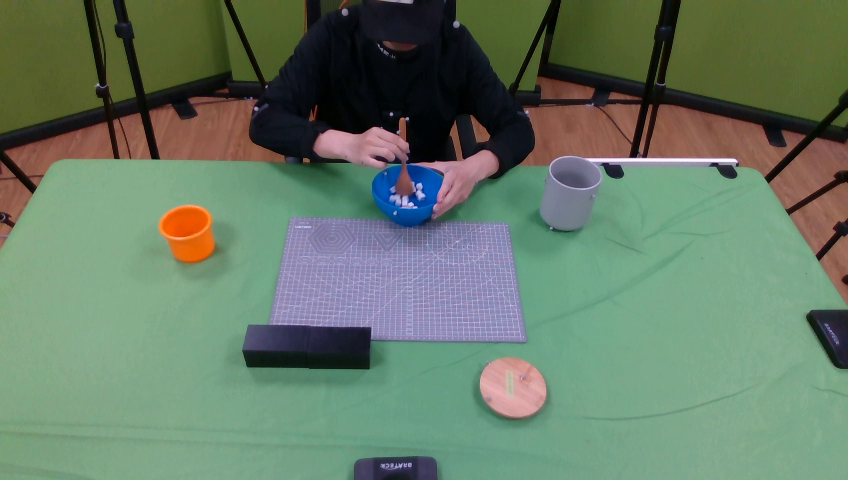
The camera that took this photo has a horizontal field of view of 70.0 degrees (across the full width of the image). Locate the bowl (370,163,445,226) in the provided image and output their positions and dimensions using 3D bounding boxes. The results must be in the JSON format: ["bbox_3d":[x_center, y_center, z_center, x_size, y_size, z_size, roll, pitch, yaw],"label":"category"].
[{"bbox_3d":[-0.034,-0.081,1.231,0.151,0.077,0.150,2,43,-2],"label":"bowl"}]

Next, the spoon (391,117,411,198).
[{"bbox_3d":[-0.045,-0.157,1.191,0.041,0.194,0.021,5,39,4],"label":"spoon"}]

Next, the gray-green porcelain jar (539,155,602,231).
[{"bbox_3d":[0.294,-0.091,1.235,0.106,0.127,0.105,2,46,-2],"label":"gray-green porcelain jar"}]

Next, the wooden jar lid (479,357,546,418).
[{"bbox_3d":[0.142,0.240,0.979,0.108,0.021,0.107,1,46,-1],"label":"wooden jar lid"}]
